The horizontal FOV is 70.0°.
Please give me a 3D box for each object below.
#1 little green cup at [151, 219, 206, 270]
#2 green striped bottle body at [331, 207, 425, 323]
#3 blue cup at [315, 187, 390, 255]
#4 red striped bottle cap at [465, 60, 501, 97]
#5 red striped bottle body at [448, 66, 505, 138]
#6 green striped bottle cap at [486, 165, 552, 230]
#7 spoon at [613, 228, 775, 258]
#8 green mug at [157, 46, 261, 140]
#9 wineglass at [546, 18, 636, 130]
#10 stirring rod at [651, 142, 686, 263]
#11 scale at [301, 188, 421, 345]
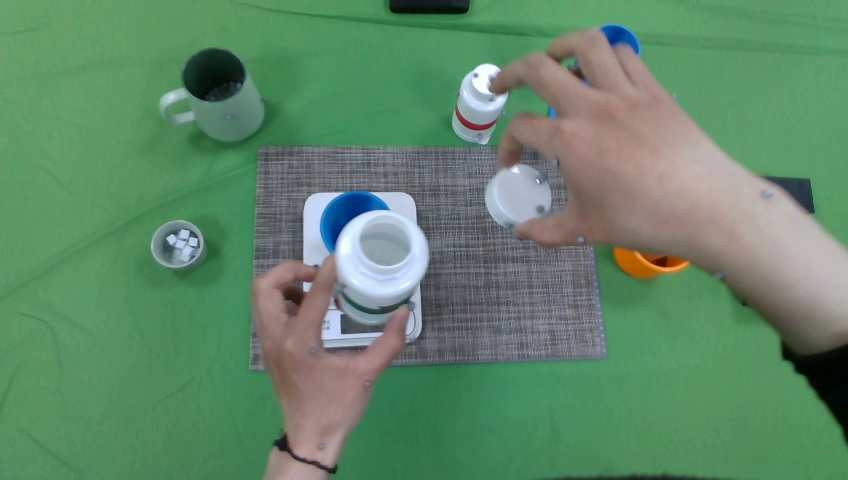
[{"bbox_3d":[-0.306,0.008,0.764,0.061,0.039,0.061,2,74,-6],"label":"little green cup"},{"bbox_3d":[-0.035,0.018,0.435,0.063,0.119,0.063,3,71,-8],"label":"green striped bottle body"},{"bbox_3d":[-0.083,-0.007,0.722,0.093,0.100,0.092,2,77,-7],"label":"blue cup"},{"bbox_3d":[0.075,-0.204,0.760,0.044,0.018,0.044,2,72,-4],"label":"red striped bottle cap"},{"bbox_3d":[0.070,-0.189,0.812,0.063,0.120,0.062,1,74,-5],"label":"red striped bottle body"},{"bbox_3d":[0.067,-0.030,0.428,0.044,0.020,0.044,2,68,-5],"label":"green striped bottle cap"},{"bbox_3d":[0.336,0.007,0.769,0.022,0.192,0.041,21,77,-45],"label":"spoon"},{"bbox_3d":[-0.280,-0.182,0.784,0.125,0.105,0.092,-23,78,-11],"label":"green mug"},{"bbox_3d":[0.216,-0.214,0.804,0.074,0.173,0.073,1,74,-4],"label":"wineglass"},{"bbox_3d":[0.314,-0.043,0.781,0.014,0.177,0.006,4,34,9],"label":"stirring rod"},{"bbox_3d":[-0.082,0.031,0.780,0.149,0.031,0.200,-2,75,-6],"label":"scale"}]
